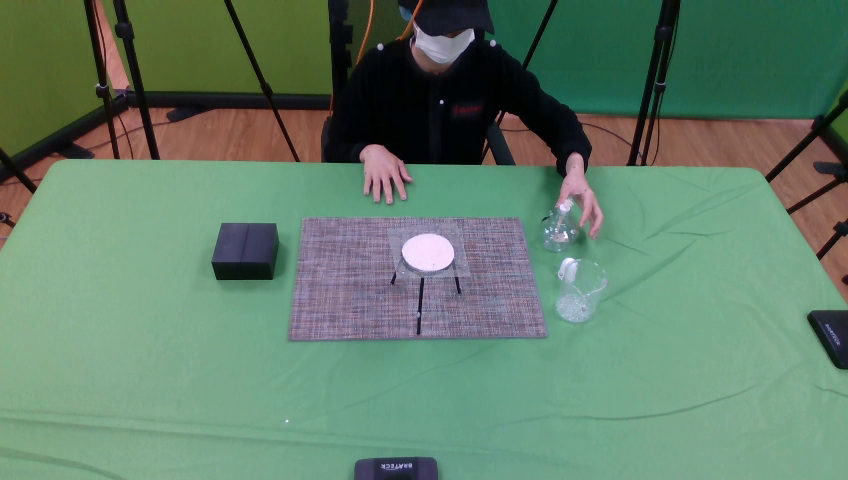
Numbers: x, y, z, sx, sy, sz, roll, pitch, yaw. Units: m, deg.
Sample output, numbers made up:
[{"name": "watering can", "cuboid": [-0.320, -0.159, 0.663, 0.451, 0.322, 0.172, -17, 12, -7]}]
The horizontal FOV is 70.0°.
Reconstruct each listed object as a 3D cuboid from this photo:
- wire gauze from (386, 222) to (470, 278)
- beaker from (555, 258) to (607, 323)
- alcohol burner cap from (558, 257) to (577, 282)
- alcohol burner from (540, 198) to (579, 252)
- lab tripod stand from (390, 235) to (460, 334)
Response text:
[{"name": "wire gauze", "cuboid": [0.004, 0.016, 1.005, 0.125, 0.011, 0.120, -5, 46, -8]}, {"name": "beaker", "cuboid": [0.275, 0.094, 1.073, 0.074, 0.101, 0.083, 10, 47, 6]}, {"name": "alcohol burner cap", "cuboid": [0.276, 0.053, 1.154, 0.034, 0.048, 0.033, 2, 46, -1]}, {"name": "alcohol burner", "cuboid": [0.268, -0.034, 1.187, 0.078, 0.120, 0.077, 1, 44, -1]}, {"name": "lab tripod stand", "cuboid": [-0.001, 0.067, 1.050, 0.148, 0.132, 0.147, 1, 47, -1]}]
